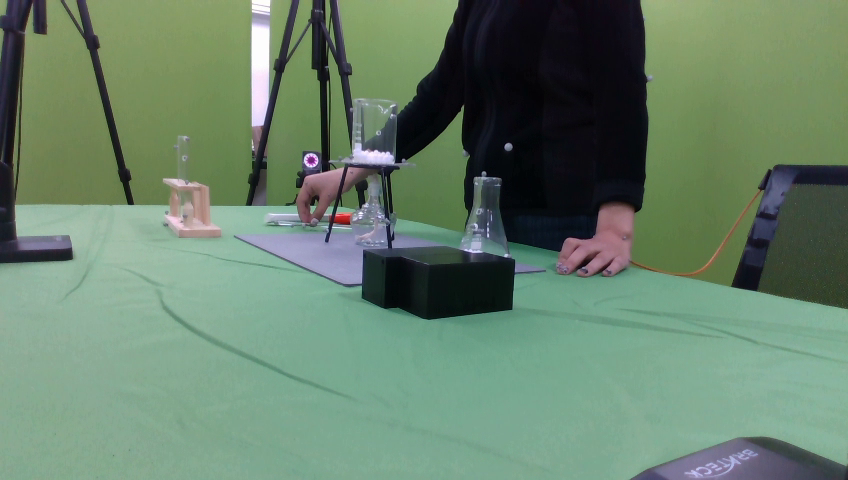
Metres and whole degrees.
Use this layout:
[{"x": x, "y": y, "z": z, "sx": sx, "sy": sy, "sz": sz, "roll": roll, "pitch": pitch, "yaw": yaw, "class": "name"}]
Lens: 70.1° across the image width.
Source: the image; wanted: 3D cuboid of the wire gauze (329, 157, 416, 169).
[{"x": -0.079, "y": -0.125, "z": 0.972, "sx": 0.121, "sy": 0.011, "sz": 0.125, "roll": 6, "pitch": 6, "yaw": 5, "class": "wire gauze"}]

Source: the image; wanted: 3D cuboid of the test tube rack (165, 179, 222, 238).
[{"x": -0.423, "y": -0.062, "z": 1.098, "sx": 0.067, "sy": 0.085, "sz": 0.241, "roll": -2, "pitch": 9, "yaw": -28, "class": "test tube rack"}]

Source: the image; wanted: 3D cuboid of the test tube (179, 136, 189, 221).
[{"x": -0.425, "y": -0.108, "z": 1.070, "sx": 0.017, "sy": 0.150, "sz": 0.017, "roll": 4, "pitch": 9, "yaw": 0, "class": "test tube"}]

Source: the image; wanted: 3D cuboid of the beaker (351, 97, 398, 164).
[{"x": -0.078, "y": -0.172, "z": 0.962, "sx": 0.074, "sy": 0.100, "sz": 0.084, "roll": 6, "pitch": 8, "yaw": 19, "class": "beaker"}]

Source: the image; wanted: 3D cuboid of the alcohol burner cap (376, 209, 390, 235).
[{"x": -0.076, "y": -0.035, "z": 1.145, "sx": 0.034, "sy": 0.048, "sz": 0.034, "roll": -1, "pitch": 6, "yaw": 0, "class": "alcohol burner cap"}]

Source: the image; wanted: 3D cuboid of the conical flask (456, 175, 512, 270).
[{"x": 0.082, "y": -0.025, "z": 0.801, "sx": 0.075, "sy": 0.122, "sz": 0.075, "roll": 2, "pitch": 7, "yaw": 0, "class": "conical flask"}]

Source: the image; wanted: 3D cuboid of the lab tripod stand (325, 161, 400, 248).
[{"x": -0.083, "y": -0.059, "z": 0.977, "sx": 0.148, "sy": 0.131, "sz": 0.148, "roll": 4, "pitch": 8, "yaw": 0, "class": "lab tripod stand"}]

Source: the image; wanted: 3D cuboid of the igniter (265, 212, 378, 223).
[{"x": -0.195, "y": -0.048, "z": 1.285, "sx": 0.278, "sy": 0.025, "sz": 0.057, "roll": -2, "pitch": -2, "yaw": -30, "class": "igniter"}]

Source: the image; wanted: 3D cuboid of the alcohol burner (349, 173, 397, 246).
[{"x": -0.081, "y": -0.050, "z": 0.982, "sx": 0.078, "sy": 0.119, "sz": 0.078, "roll": 4, "pitch": 8, "yaw": 0, "class": "alcohol burner"}]

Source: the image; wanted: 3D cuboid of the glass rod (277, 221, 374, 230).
[{"x": -0.187, "y": -0.028, "z": 1.177, "sx": 0.201, "sy": 0.008, "sz": 0.008, "roll": 3, "pitch": 6, "yaw": -31, "class": "glass rod"}]
